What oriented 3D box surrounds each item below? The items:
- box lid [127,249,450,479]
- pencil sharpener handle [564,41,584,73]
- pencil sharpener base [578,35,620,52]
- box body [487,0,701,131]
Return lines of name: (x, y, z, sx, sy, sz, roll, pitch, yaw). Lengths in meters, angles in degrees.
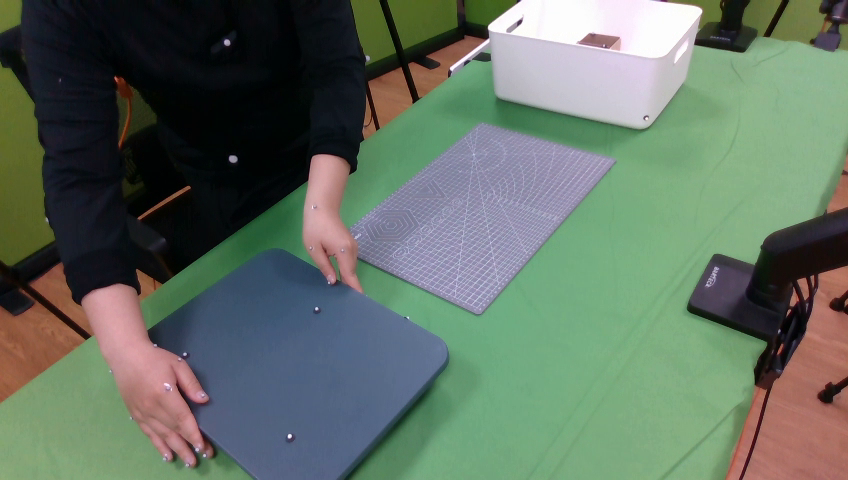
box lid: (-0.177, 0.146, 0.768, 0.368, 0.015, 0.264, 24, 50, 32)
pencil sharpener handle: (0.318, -0.391, 1.288, 0.030, 0.068, 0.036, 20, 38, 30)
pencil sharpener base: (0.362, -0.368, 1.273, 0.076, 0.107, 0.061, 20, 48, 30)
box body: (0.345, -0.379, 1.257, 0.361, 0.161, 0.255, 20, 48, 29)
